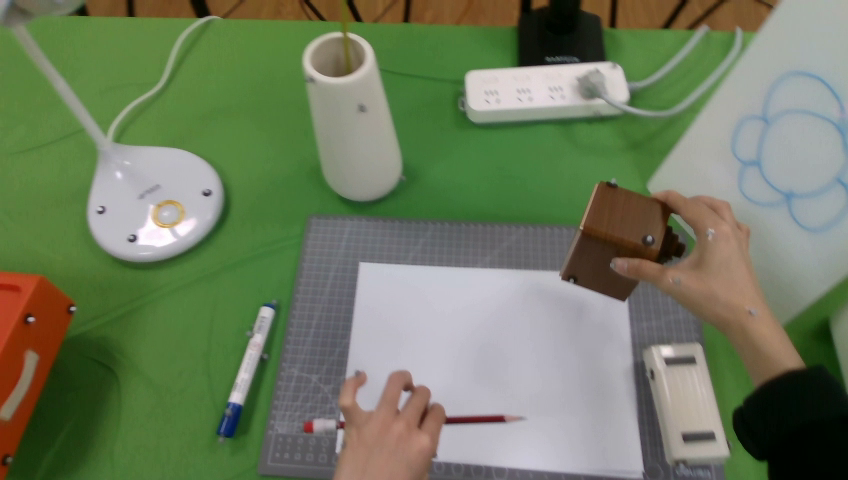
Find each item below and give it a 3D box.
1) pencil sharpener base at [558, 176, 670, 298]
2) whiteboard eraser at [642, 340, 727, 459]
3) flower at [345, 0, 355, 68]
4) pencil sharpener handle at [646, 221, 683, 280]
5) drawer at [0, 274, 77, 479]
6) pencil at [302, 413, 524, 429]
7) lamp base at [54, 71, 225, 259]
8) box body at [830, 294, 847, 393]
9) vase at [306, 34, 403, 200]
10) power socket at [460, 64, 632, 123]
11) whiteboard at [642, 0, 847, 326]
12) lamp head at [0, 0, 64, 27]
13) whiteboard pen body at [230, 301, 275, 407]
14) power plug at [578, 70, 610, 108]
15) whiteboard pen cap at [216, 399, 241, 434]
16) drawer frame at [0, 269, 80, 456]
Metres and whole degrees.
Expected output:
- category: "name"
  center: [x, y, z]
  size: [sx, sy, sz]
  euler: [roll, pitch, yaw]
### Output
- category: "pencil sharpener base"
  center: [0.180, 0.001, 0.577]
  size: [0.076, 0.108, 0.061]
  euler: [21, 63, 11]
- category: "whiteboard eraser"
  center: [0.253, 0.155, 0.596]
  size: [0.055, 0.042, 0.111]
  euler: [-2, 61, -1]
- category: "flower"
  center: [-0.074, -0.187, 0.617]
  size: [0.038, 0.365, 0.043]
  euler: [-8, 42, -10]
- category: "pencil sharpener handle"
  center: [0.227, 0.013, 0.557]
  size: [0.030, 0.068, 0.036]
  euler: [21, 60, 11]
- category: "drawer"
  center: [-0.473, 0.120, 0.566]
  size: [0.211, 0.074, 0.193]
  euler: [5, 62, 5]
- category: "pencil"
  center: [-0.009, 0.157, 0.529]
  size: [0.194, 0.012, 0.012]
  euler: [-2, 60, 0]
- category: "lamp base"
  center: [-0.336, -0.092, 0.676]
  size: [0.178, 0.182, 0.160]
  euler: [33, 66, 22]
- category: "box body"
  center: [0.534, 0.186, 0.504]
  size: [0.254, 0.162, 0.361]
  euler: [2, 61, 3]
- category: "vase"
  center: [-0.079, -0.131, 0.680]
  size: [0.098, 0.201, 0.097]
  euler: [-1, 60, 3]
- category: "power socket"
  center: [0.162, -0.194, 0.803]
  size: [0.227, 0.033, 0.071]
  euler: [-2, 61, 0]
- category: "whiteboard"
  center: [0.418, -0.095, 0.619]
  size: [0.144, 0.307, 0.215]
  euler: [-16, 59, -29]
- category: "lamp head"
  center: [-0.297, -0.229, 0.419]
  size: [0.124, 0.112, 0.112]
  euler: [43, 64, -19]
- category: "whiteboard pen body"
  center: [-0.183, 0.127, 0.638]
  size: [0.017, 0.017, 0.139]
  euler: [7, 57, 6]
- category: "power plug"
  center: [0.214, -0.183, 0.769]
  size: [0.035, 0.053, 0.072]
  euler: [6, 62, 6]
- category: "whiteboard pen cap"
  center: [-0.194, 0.176, 0.606]
  size: [0.018, 0.018, 0.033]
  euler: [7, 55, 6]
- category: "drawer frame"
  center: [-0.479, 0.122, 0.568]
  size: [0.213, 0.083, 0.200]
  euler: [6, 62, 3]
